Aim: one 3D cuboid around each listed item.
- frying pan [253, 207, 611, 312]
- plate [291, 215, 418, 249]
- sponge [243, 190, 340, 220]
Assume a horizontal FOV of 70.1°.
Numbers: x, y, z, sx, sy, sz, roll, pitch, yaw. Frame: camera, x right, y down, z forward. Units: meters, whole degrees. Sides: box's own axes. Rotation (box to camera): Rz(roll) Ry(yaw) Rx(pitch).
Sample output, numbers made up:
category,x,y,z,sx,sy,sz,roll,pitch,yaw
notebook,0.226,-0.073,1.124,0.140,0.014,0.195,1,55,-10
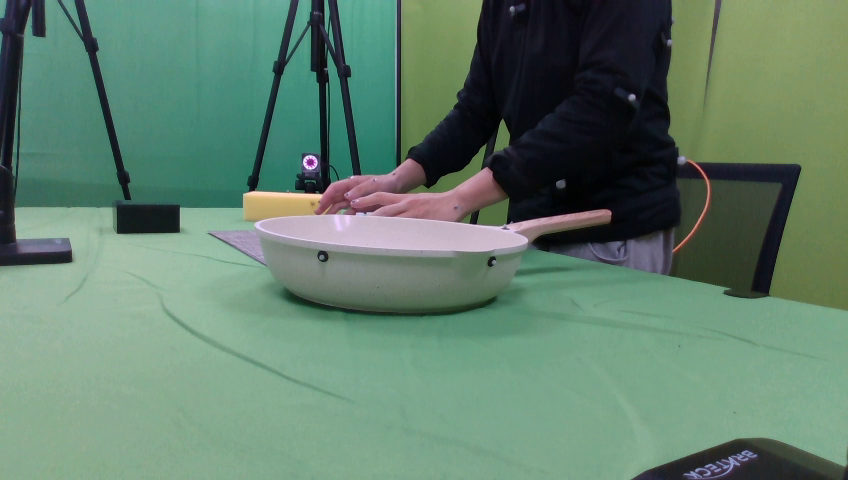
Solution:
category,x,y,z,sx,sy,sz,roll,pitch,yaw
frying pan,0.052,-0.001,0.715,0.490,0.102,0.305,-11,15,-31
plate,-0.114,-0.013,1.002,0.208,0.039,0.207,2,7,0
sponge,-0.299,-0.077,1.388,0.207,0.061,0.118,2,8,-8
